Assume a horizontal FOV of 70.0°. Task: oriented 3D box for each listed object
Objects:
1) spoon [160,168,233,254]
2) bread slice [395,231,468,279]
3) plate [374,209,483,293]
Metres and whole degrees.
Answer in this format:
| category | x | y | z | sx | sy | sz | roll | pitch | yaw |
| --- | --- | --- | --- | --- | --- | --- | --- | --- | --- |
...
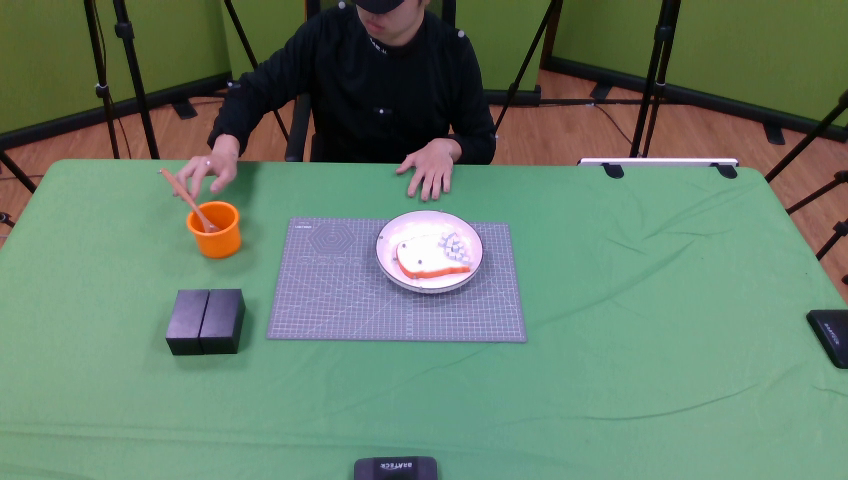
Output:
| category | x | y | z | sx | sy | sz | roll | pitch | yaw |
| --- | --- | --- | --- | --- | --- | --- | --- | --- | --- |
| spoon | -0.424 | -0.055 | 1.129 | 0.041 | 0.194 | 0.021 | -42 | 18 | -31 |
| bread slice | 0.011 | 0.030 | 1.158 | 0.132 | 0.019 | 0.104 | -8 | 47 | -14 |
| plate | 0.009 | 0.024 | 1.160 | 0.209 | 0.038 | 0.208 | 2 | 46 | -2 |
